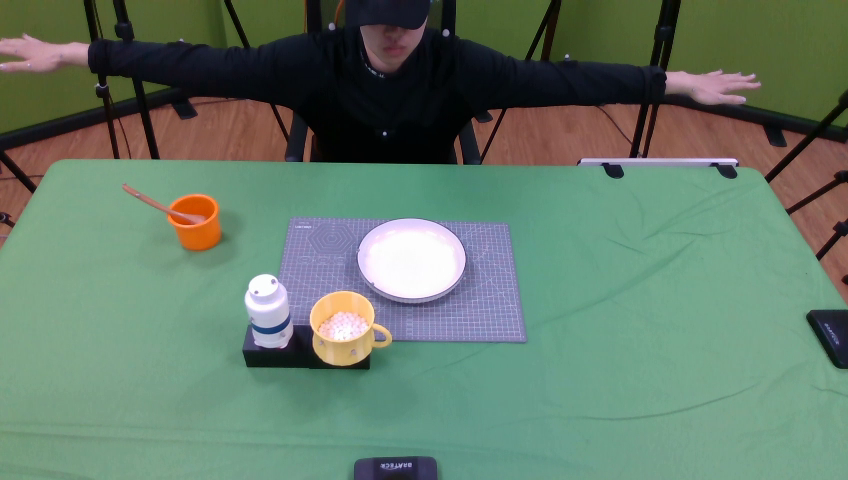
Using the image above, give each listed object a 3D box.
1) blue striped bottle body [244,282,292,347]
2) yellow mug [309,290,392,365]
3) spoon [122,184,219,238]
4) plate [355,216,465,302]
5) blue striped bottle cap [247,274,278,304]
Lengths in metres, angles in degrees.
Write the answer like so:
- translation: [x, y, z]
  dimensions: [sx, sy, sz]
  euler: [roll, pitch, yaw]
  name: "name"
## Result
- translation: [-0.241, 0.108, 0.937]
  dimensions: [0.063, 0.121, 0.062]
  euler: [2, 46, -2]
  name: "blue striped bottle body"
- translation: [-0.114, 0.141, 0.954]
  dimensions: [0.131, 0.064, 0.099]
  euler: [12, 47, 6]
  name: "yellow mug"
- translation: [-0.463, -0.053, 1.118]
  dimensions: [0.195, 0.021, 0.041]
  euler: [28, 37, -35]
  name: "spoon"
- translation: [-0.027, 0.039, 1.144]
  dimensions: [0.208, 0.039, 0.206]
  euler: [2, 46, -2]
  name: "plate"
- translation: [-0.239, 0.072, 0.900]
  dimensions: [0.044, 0.021, 0.044]
  euler: [4, 46, -4]
  name: "blue striped bottle cap"
